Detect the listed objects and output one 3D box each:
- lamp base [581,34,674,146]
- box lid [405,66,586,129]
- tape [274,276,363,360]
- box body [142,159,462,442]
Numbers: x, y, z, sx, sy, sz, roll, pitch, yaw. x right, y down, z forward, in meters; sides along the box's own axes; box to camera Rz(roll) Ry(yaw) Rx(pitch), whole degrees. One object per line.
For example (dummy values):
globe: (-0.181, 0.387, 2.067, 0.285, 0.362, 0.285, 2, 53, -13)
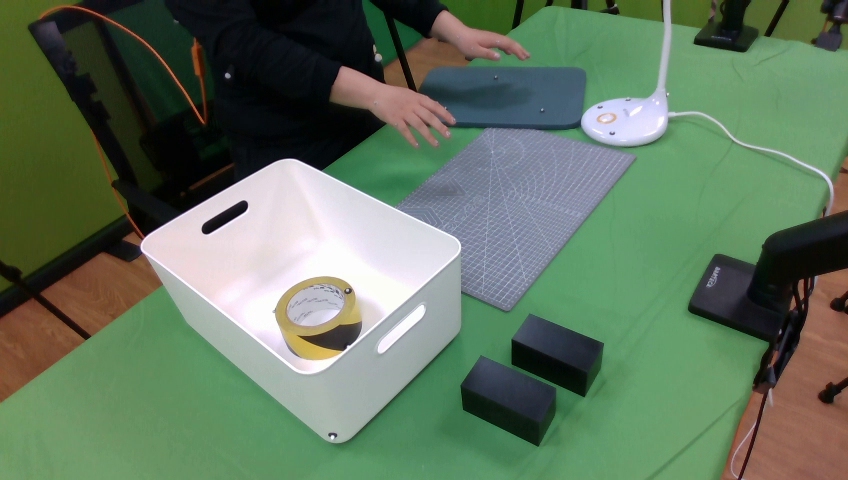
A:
lamp base: (0.392, -0.291, 1.129, 0.180, 0.181, 0.159, -11, 41, -8)
box lid: (0.163, -0.317, 1.322, 0.370, 0.015, 0.263, 5, 42, 14)
tape: (-0.144, 0.106, 0.833, 0.117, 0.053, 0.116, -4, 41, 4)
box body: (-0.153, 0.063, 0.809, 0.361, 0.161, 0.255, 27, 51, 33)
